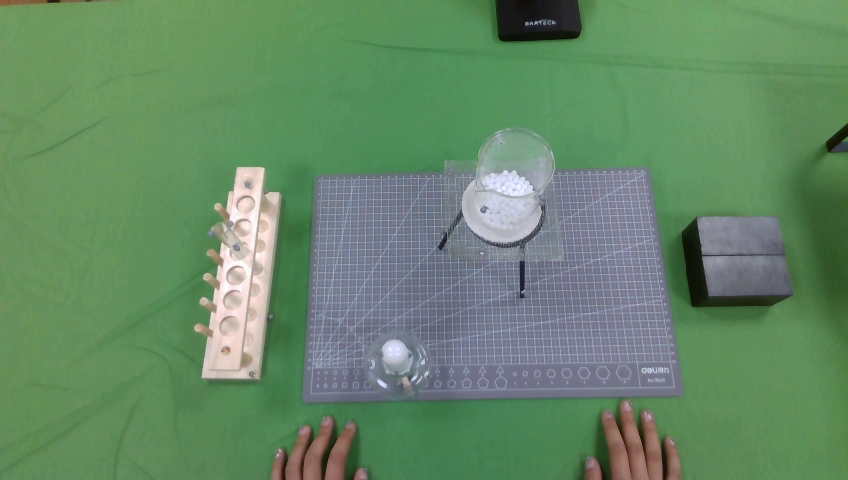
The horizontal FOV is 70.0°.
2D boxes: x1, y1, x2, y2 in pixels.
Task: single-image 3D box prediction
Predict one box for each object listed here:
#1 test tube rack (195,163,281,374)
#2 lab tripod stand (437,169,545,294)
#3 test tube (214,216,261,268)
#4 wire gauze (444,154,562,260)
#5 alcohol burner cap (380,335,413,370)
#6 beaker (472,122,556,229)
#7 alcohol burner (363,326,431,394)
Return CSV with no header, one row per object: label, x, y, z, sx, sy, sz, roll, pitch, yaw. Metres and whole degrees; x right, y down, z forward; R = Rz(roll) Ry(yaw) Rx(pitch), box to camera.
test tube rack,-0.227,0.034,0.730,0.067,0.086,0.240,1,71,1
lab tripod stand,0.089,-0.019,0.717,0.148,0.132,0.147,0,69,1
test tube,-0.209,0.006,0.687,0.017,0.151,0.017,1,71,-1
wire gauze,0.084,-0.037,0.653,0.125,0.011,0.120,1,71,-2
alcohol burner cap,-0.031,0.118,0.642,0.034,0.048,0.033,-2,67,6
beaker,0.084,-0.058,0.610,0.084,0.101,0.073,-33,73,-11
alcohol burner,-0.030,0.131,0.676,0.078,0.120,0.077,0,70,-1
